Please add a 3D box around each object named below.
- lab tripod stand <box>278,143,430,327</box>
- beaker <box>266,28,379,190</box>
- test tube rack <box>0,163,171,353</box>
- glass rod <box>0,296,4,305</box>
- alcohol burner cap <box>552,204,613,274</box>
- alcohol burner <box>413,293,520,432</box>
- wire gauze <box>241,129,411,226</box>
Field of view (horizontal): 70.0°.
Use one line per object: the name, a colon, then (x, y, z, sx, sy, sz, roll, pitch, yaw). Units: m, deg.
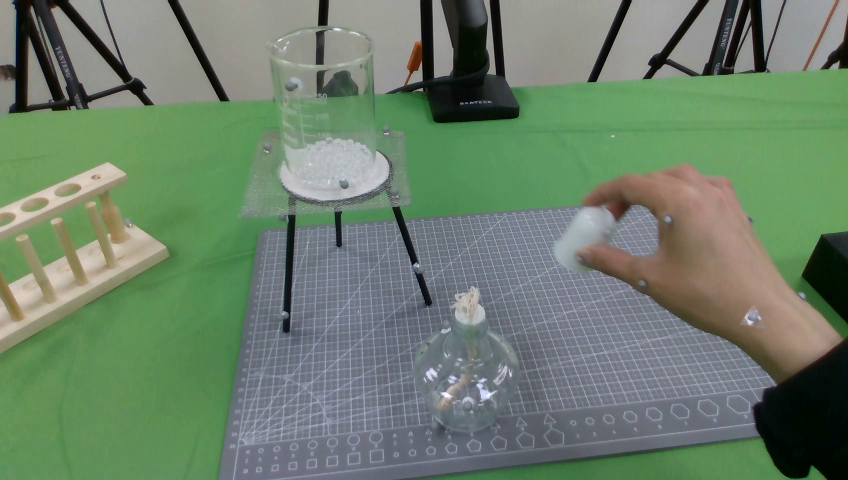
lab tripod stand: (-0.065, -0.006, 0.519, 0.148, 0.132, 0.147, 1, 37, 0)
beaker: (-0.074, -0.095, 0.447, 0.083, 0.101, 0.074, 21, 42, 22)
test tube rack: (-0.353, 0.029, 0.519, 0.066, 0.086, 0.242, 27, 46, 30)
glass rod: (-0.376, -0.029, 0.486, 0.008, 0.201, 0.008, 0, 31, 0)
alcohol burner cap: (0.109, -0.003, 0.406, 0.034, 0.048, 0.033, 7, 49, -8)
alcohol burner: (0.030, 0.080, 0.427, 0.078, 0.120, 0.077, 0, 41, 0)
wire gauze: (-0.074, -0.055, 0.475, 0.121, 0.011, 0.124, -3, 41, -4)
